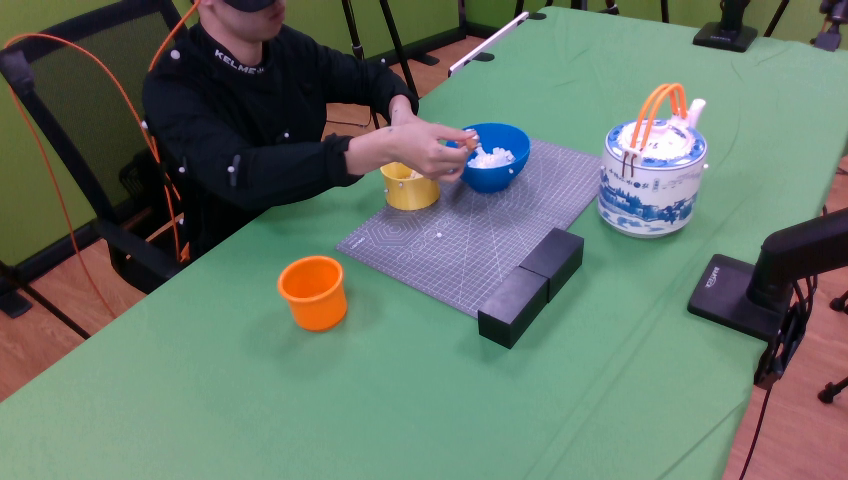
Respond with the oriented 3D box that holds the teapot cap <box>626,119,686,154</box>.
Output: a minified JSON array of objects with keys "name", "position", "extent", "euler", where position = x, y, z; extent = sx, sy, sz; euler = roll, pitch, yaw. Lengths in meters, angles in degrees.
[{"name":"teapot cap","position":[0.338,-0.153,0.882],"extent":[0.085,0.044,0.085],"euler":[-3,38,3]}]

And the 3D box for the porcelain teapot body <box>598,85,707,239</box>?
[{"name":"porcelain teapot body","position":[0.362,-0.137,0.921],"extent":[0.144,0.226,0.206],"euler":[29,51,36]}]

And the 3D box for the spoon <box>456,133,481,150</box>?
[{"name":"spoon","position":[0.070,-0.152,0.932],"extent":[0.041,0.021,0.193],"euler":[-10,10,5]}]

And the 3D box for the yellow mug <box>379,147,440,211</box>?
[{"name":"yellow mug","position":[-0.022,-0.117,1.071],"extent":[0.100,0.064,0.130],"euler":[0,40,8]}]

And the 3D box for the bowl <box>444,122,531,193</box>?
[{"name":"bowl","position":[0.113,-0.136,1.063],"extent":[0.151,0.077,0.150],"euler":[-4,41,4]}]
